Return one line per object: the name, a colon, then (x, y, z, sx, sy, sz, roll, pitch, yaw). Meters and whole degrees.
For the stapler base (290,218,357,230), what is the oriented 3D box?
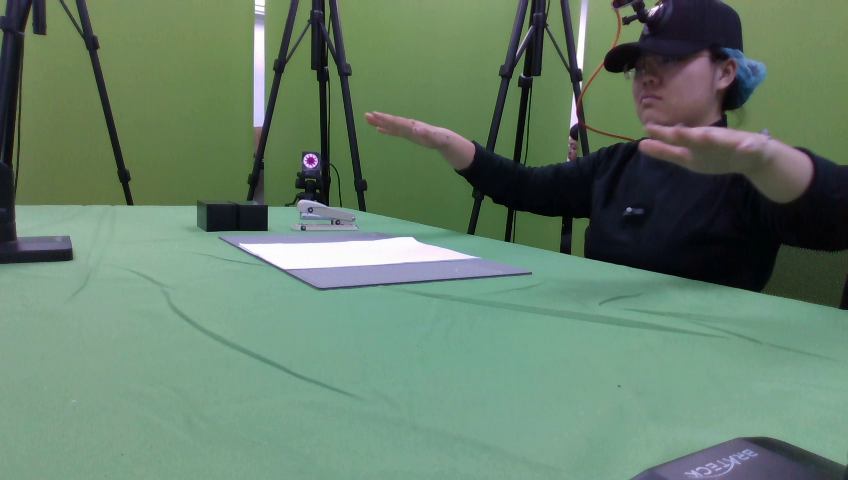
stapler base: (-0.199, -0.033, 1.201, 0.131, 0.024, 0.041, 2, 10, -25)

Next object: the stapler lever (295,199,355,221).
stapler lever: (-0.196, -0.058, 1.199, 0.118, 0.040, 0.026, 2, 10, -25)
